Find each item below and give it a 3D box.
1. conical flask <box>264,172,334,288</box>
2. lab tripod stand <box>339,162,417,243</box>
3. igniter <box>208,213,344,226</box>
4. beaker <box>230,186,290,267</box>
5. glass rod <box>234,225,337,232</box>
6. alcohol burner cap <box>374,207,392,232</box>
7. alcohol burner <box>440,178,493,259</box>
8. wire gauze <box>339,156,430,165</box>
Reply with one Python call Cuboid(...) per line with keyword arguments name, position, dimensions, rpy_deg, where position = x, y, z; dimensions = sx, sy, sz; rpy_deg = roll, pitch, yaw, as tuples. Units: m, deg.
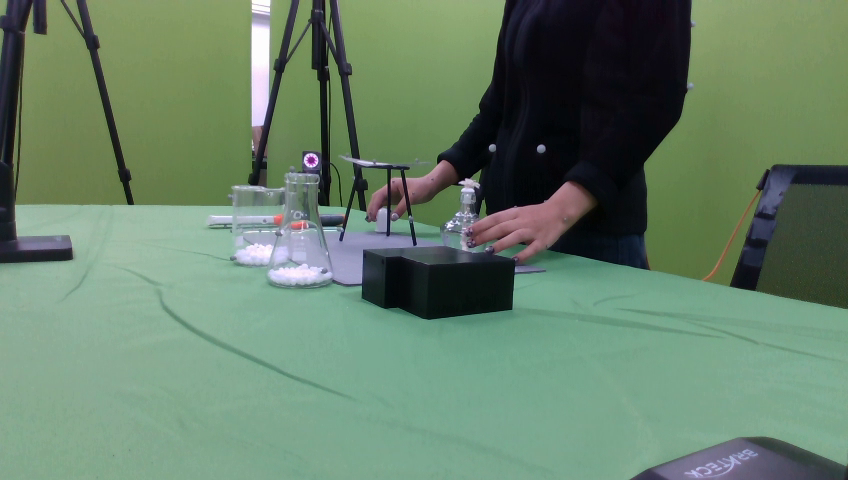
Cuboid(name="conical flask", position=(-0.136, -0.013, 0.660), dimensions=(0.075, 0.122, 0.075), rpy_deg=(2, 7, 0))
Cuboid(name="lab tripod stand", position=(-0.067, -0.065, 1.027), dimensions=(0.148, 0.131, 0.148), rpy_deg=(4, 7, 0))
Cuboid(name="igniter", position=(-0.283, -0.041, 1.200), dimensions=(0.278, 0.025, 0.057), rpy_deg=(-2, -2, -34))
Cuboid(name="beaker", position=(-0.209, -0.019, 0.778), dimensions=(0.074, 0.100, 0.084), rpy_deg=(3, 6, 4))
Cuboid(name="glass rod", position=(-0.256, -0.022, 1.136), dimensions=(0.201, 0.008, 0.008), rpy_deg=(-3, 9, -33))
Cuboid(name="alcohol burner cap", position=(-0.079, -0.039, 1.152), dimensions=(0.034, 0.048, 0.034), rpy_deg=(0, 0, 0))
Cuboid(name="alcohol burner", position=(0.063, -0.032, 0.887), dimensions=(0.078, 0.119, 0.078), rpy_deg=(4, 5, 0))
Cuboid(name="wire gauze", position=(-0.067, -0.132, 1.022), dimensions=(0.122, 0.011, 0.124), rpy_deg=(-1, 9, -31))
